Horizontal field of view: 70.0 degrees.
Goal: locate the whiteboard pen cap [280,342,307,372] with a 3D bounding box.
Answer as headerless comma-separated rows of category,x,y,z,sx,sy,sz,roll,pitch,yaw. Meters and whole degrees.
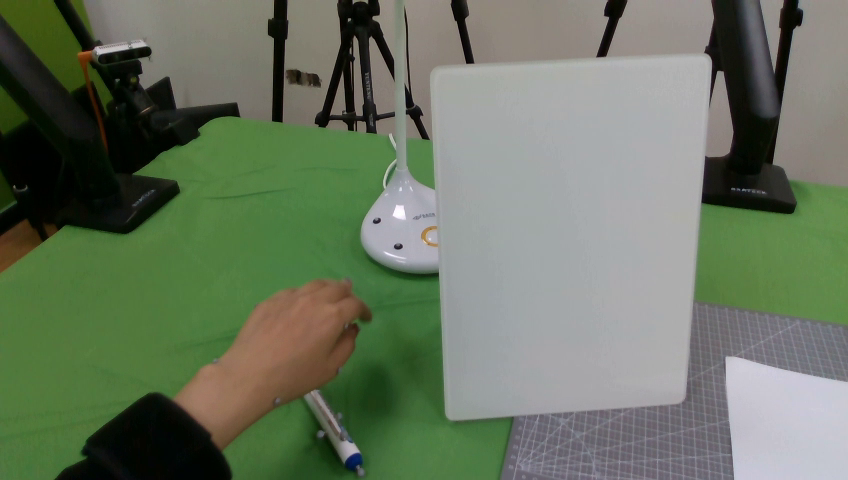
whiteboard pen cap,-0.124,0.114,0.579,0.018,0.018,0.033,-22,46,-26

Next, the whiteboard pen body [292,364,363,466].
whiteboard pen body,-0.093,0.145,0.541,0.017,0.017,0.139,-22,43,-26

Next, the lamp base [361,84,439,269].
lamp base,-0.007,-0.084,0.723,0.161,0.182,0.177,-20,37,-24

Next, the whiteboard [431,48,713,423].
whiteboard,0.117,-0.011,0.559,0.217,0.307,0.143,-3,17,-2
